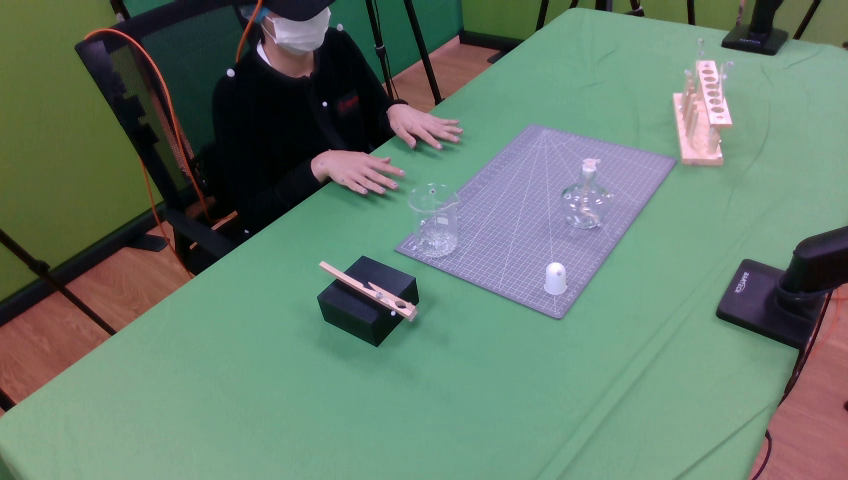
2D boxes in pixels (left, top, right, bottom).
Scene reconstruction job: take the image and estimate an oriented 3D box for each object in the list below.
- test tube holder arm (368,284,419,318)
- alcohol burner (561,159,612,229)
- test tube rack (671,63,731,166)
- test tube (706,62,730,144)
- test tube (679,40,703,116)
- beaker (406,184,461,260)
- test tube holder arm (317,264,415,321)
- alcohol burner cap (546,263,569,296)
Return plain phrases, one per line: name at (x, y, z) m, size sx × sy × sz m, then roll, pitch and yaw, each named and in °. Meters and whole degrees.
test tube holder arm at (-0.044, 0.081, 0.813) m, size 0.087 × 0.015 × 0.010 m, roll 23°, pitch 55°, yaw 31°
alcohol burner at (0.257, -0.077, 0.951) m, size 0.078 × 0.119 × 0.077 m, roll -3°, pitch 40°, yaw 3°
test tube rack at (0.513, -0.240, 1.132) m, size 0.066 × 0.085 × 0.242 m, roll 4°, pitch 41°, yaw 14°
test tube at (0.507, -0.233, 1.046) m, size 0.017 × 0.151 × 0.017 m, roll -5°, pitch 36°, yaw 4°
test tube at (0.502, -0.303, 1.138) m, size 0.017 × 0.151 × 0.017 m, roll -3°, pitch 40°, yaw 3°
beaker at (0.019, -0.026, 0.939) m, size 0.084 × 0.101 × 0.074 m, roll 1°, pitch 41°, yaw 9°
test tube holder arm at (-0.083, 0.070, 0.833) m, size 0.177 × 0.015 × 0.013 m, roll 22°, pitch 54°, yaw 30°
alcohol burner cap at (0.191, 0.053, 0.862) m, size 0.034 × 0.048 × 0.033 m, roll -5°, pitch 40°, yaw 4°
